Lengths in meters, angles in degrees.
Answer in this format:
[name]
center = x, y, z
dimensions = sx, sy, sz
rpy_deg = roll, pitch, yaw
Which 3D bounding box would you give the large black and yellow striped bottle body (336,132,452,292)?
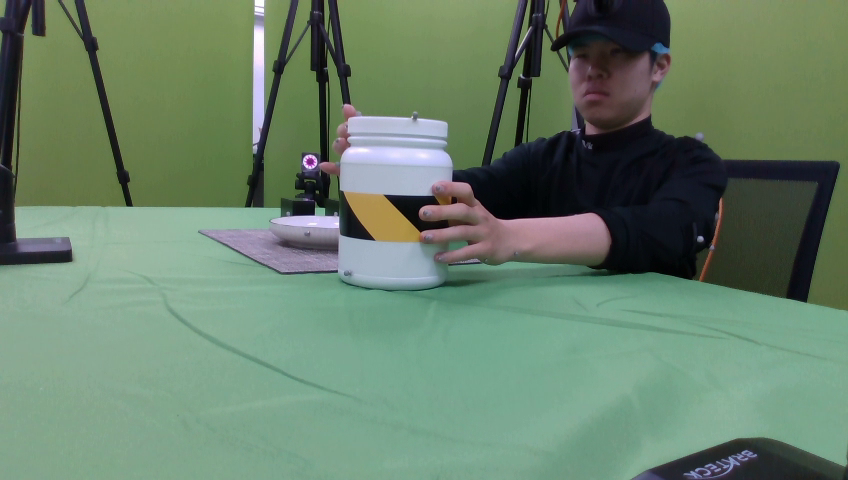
[large black and yellow striped bottle body]
center = -0.035, -0.041, 0.703
dimensions = 0.131, 0.184, 0.130
rpy_deg = 3, 7, 0

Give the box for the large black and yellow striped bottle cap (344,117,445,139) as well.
[large black and yellow striped bottle cap]
center = -0.033, -0.126, 0.691
dimensions = 0.115, 0.019, 0.115
rpy_deg = 4, 7, 0

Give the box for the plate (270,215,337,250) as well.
[plate]
center = -0.145, -0.013, 0.991
dimensions = 0.208, 0.039, 0.207
rpy_deg = 2, 7, 0
